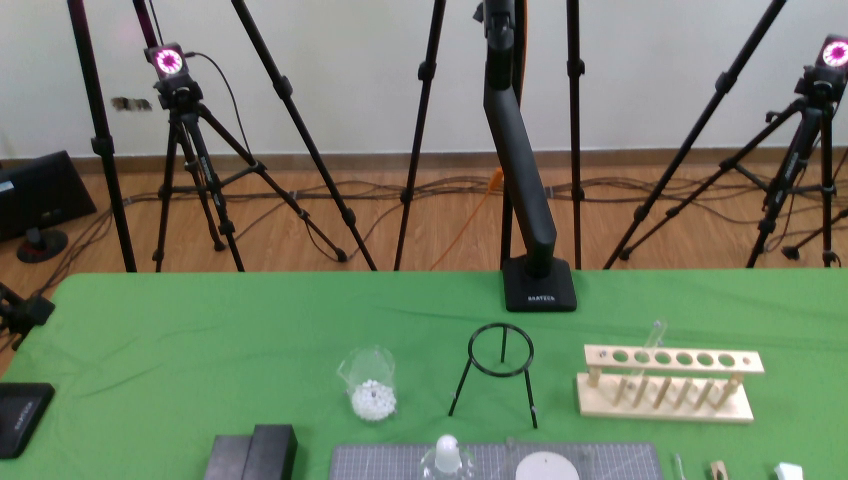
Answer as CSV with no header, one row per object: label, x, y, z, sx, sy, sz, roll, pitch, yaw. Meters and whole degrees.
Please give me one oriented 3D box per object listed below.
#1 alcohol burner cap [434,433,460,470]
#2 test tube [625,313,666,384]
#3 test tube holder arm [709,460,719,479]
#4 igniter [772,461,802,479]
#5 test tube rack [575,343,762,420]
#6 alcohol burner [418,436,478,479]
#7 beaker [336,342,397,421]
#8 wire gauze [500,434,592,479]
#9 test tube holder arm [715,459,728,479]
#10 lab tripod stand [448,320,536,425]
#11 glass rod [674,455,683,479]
alcohol burner cap,0.028,0.260,0.754,0.034,0.048,0.033,0,38,1
test tube,0.311,0.157,0.856,0.017,0.151,0.017,2,43,-2
test tube holder arm,0.390,0.332,0.792,0.010,0.015,0.087,-26,37,27
igniter,0.466,0.396,0.715,0.057,0.025,0.274,12,45,-1
test tube rack,0.349,0.205,0.876,0.242,0.086,0.066,2,44,4
alcohol burner,0.030,0.287,0.778,0.078,0.120,0.077,-3,44,3
beaker,-0.080,0.209,0.878,0.084,0.101,0.073,-7,44,-4
wire gauze,0.165,0.323,0.813,0.125,0.011,0.120,8,46,9
test tube holder arm,0.392,0.361,0.758,0.013,0.015,0.176,-27,37,26
lab tripod stand,0.102,0.192,0.865,0.148,0.133,0.147,-1,46,2
glass rod,0.335,0.366,0.764,0.008,0.008,0.198,3,46,5
